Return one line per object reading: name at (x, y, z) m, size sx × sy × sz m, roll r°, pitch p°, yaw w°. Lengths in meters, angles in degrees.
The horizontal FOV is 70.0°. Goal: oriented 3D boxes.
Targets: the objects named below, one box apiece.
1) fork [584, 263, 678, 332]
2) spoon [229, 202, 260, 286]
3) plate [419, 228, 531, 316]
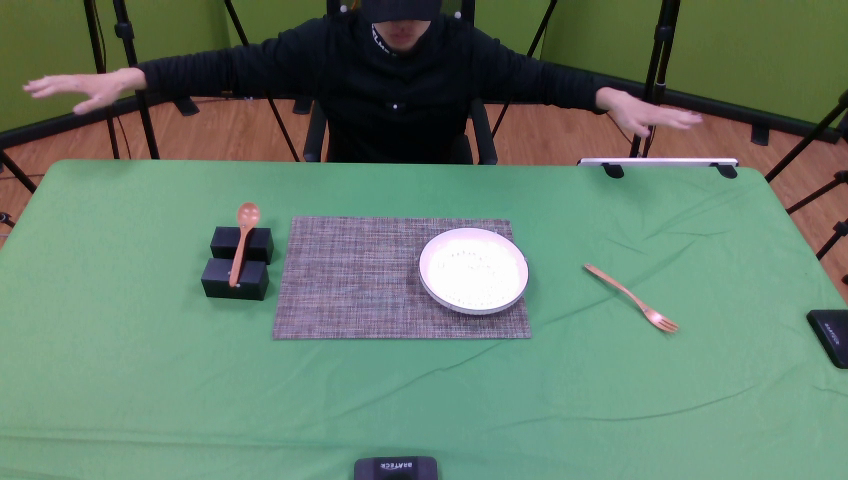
fork at (0.380, 0.103, 1.130) m, size 0.028 × 0.019 × 0.206 m, roll -34°, pitch 58°, yaw -23°
spoon at (-0.332, 0.005, 1.100) m, size 0.042 × 0.022 × 0.192 m, roll 17°, pitch 43°, yaw -19°
plate at (0.093, 0.062, 1.131) m, size 0.208 × 0.039 × 0.206 m, roll 2°, pitch 46°, yaw -2°
